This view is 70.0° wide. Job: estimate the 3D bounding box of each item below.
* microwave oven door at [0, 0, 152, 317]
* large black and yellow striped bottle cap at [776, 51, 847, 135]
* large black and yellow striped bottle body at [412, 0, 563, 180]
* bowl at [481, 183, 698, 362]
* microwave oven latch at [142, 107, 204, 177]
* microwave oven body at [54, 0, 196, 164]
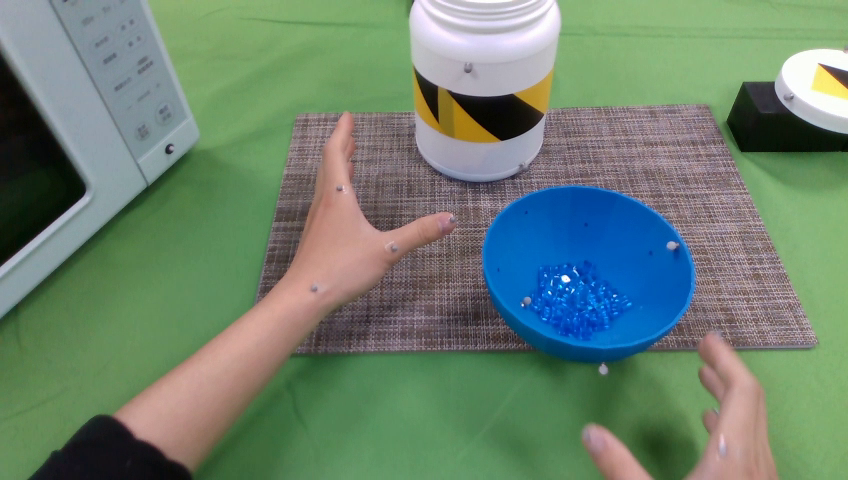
[{"bbox_3d":[-0.359,-0.015,0.393,0.039,0.246,0.354,21,54,19],"label":"microwave oven door"},{"bbox_3d":[0.405,-0.144,0.585,0.115,0.019,0.114,-1,50,2],"label":"large black and yellow striped bottle cap"},{"bbox_3d":[0.056,-0.162,0.560,0.131,0.185,0.129,-1,50,1],"label":"large black and yellow striped bottle body"},{"bbox_3d":[0.117,0.036,0.463,0.151,0.077,0.150,-1,50,1],"label":"bowl"},{"bbox_3d":[-0.251,-0.099,0.593,0.030,0.030,0.079,23,55,19],"label":"microwave oven latch"},{"bbox_3d":[-0.468,-0.090,0.465,0.324,0.262,0.439,22,55,18],"label":"microwave oven body"}]
